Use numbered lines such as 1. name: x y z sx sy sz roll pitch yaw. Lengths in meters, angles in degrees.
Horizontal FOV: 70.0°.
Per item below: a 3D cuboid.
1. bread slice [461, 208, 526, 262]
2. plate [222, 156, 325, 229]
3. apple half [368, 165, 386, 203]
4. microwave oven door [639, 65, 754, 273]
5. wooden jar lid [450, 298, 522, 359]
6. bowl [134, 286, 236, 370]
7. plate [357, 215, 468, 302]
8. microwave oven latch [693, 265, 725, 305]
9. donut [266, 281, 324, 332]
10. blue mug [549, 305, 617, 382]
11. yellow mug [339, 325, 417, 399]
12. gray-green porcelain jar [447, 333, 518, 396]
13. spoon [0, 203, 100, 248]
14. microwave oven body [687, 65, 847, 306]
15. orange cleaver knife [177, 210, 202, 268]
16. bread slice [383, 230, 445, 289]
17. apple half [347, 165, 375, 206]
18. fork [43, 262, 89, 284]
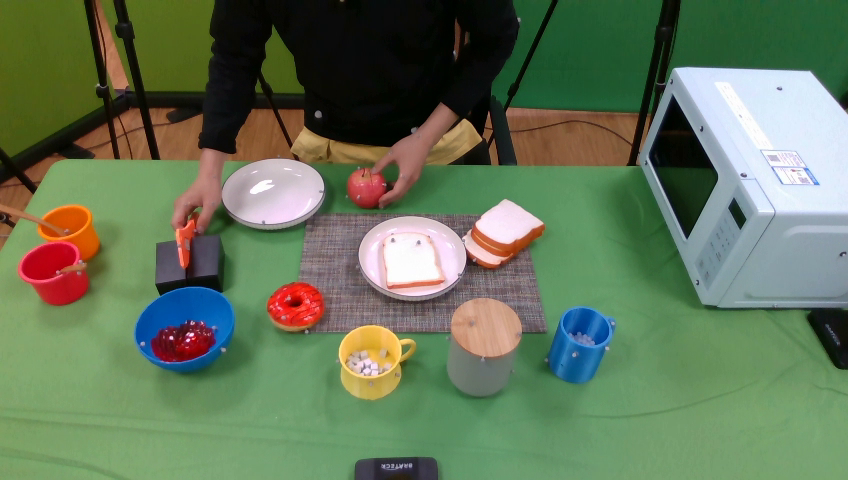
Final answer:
1. bread slice: 0.127 -0.008 1.194 0.104 0.019 0.131 20 49 25
2. plate: -0.308 -0.095 1.251 0.209 0.038 0.208 3 47 -3
3. apple half: -0.095 -0.115 1.259 0.033 0.082 0.080 -7 48 -7
4. microwave oven door: 0.522 -0.147 1.192 0.039 0.245 0.353 0 47 -3
5. wooden jar lid: 0.093 0.135 0.914 0.108 0.021 0.107 3 48 -3
6. bowl: -0.377 0.156 0.981 0.151 0.077 0.150 2 46 -2
7. plate: -0.022 0.037 1.141 0.208 0.039 0.206 2 46 -2
8. microwave oven latch: 0.523 0.081 1.115 0.030 0.029 0.078 2 46 -1
9. donut: -0.222 0.115 1.049 0.099 0.048 0.098 2 45 -2
10. blue mug: 0.269 0.166 0.998 0.116 0.106 0.082 -19 51 -21
11. yellow mug: -0.072 0.190 0.978 0.131 0.064 0.099 -17 50 -20
12. gray-green porcelain jar: 0.091 0.178 0.960 0.106 0.127 0.105 2 46 -2
13. spoon: -0.683 -0.031 1.088 0.195 0.021 0.041 33 33 -38
14. microwave oven body: 0.669 -0.111 1.176 0.326 0.261 0.439 0 46 -3
15. orange cleaver knife: -0.433 -0.006 1.127 0.012 0.077 0.210 -7 17 -9
16. bread slice: -0.028 0.035 1.145 0.107 0.018 0.133 -7 48 -11
17. apple half: -0.132 -0.110 1.254 0.053 0.075 0.080 -10 49 -4
18. fork: -0.599 0.053 1.013 0.207 0.019 0.028 -14 30 45
